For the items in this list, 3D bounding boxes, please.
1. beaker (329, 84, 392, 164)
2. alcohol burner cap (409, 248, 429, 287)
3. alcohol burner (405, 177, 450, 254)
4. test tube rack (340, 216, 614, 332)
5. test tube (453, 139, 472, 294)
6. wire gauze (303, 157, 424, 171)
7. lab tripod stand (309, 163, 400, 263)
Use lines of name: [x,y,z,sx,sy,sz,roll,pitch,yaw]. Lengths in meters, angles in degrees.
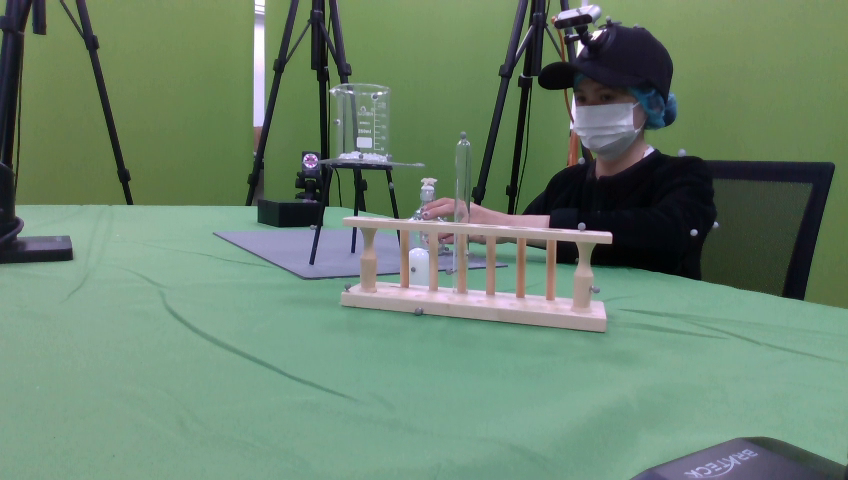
beaker: [-0.084,-0.149,0.794,0.084,0.100,0.073,-1,6,-23]
alcohol burner cap: [-0.008,0.032,0.674,0.034,0.048,0.034,2,6,0]
alcohol burner: [0.004,-0.036,0.917,0.078,0.119,0.078,4,6,0]
test tube rack: [0.048,0.026,0.568,0.242,0.085,0.067,4,7,13]
test tube: [0.037,-0.021,0.584,0.017,0.150,0.017,1,7,0]
wire gauze: [-0.082,-0.101,0.799,0.126,0.011,0.121,1,7,-30]
lab tripod stand: [-0.091,-0.037,0.813,0.148,0.131,0.148,1,6,0]
